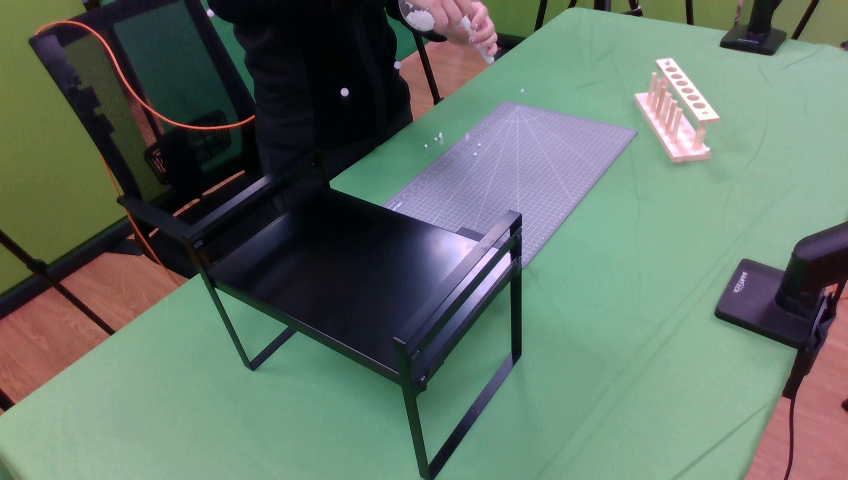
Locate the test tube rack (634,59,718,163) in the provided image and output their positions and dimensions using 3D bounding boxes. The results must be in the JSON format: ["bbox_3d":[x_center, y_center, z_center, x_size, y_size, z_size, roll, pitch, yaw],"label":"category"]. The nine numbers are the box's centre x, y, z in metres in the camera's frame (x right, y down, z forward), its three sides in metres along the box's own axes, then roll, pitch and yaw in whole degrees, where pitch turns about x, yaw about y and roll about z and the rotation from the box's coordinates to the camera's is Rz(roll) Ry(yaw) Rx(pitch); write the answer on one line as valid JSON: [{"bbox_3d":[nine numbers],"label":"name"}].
[{"bbox_3d":[0.470,-0.250,1.148,0.067,0.085,0.241,-6,40,3],"label":"test tube rack"}]

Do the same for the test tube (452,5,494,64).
[{"bbox_3d":[0.083,-0.331,0.987,0.017,0.151,0.017,-9,69,26],"label":"test tube"}]

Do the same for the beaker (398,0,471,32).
[{"bbox_3d":[0.018,-0.351,0.873,0.073,0.084,0.100,26,55,28],"label":"beaker"}]
